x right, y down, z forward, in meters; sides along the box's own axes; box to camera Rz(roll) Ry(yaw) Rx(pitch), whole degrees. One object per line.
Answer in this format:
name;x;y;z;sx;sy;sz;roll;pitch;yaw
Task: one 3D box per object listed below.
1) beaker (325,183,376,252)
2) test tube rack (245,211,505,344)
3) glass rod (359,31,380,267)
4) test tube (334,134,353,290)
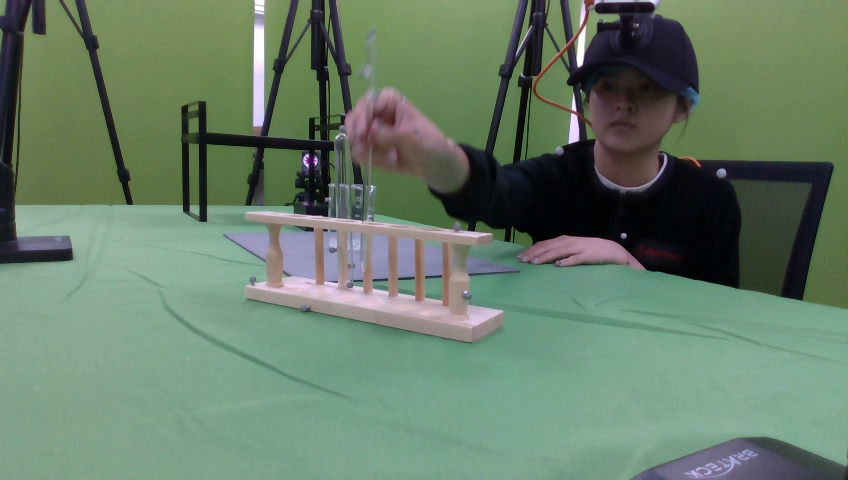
beaker;-0.110;-0.034;0.920;0.083;0.100;0.074;11;11;43
test tube rack;-0.049;0.025;0.547;0.241;0.085;0.067;7;8;29
glass rod;-0.047;-0.076;0.513;0.008;0.199;0.008;4;4;0
test tube;-0.077;-0.026;0.579;0.017;0.150;0.017;0;7;0
